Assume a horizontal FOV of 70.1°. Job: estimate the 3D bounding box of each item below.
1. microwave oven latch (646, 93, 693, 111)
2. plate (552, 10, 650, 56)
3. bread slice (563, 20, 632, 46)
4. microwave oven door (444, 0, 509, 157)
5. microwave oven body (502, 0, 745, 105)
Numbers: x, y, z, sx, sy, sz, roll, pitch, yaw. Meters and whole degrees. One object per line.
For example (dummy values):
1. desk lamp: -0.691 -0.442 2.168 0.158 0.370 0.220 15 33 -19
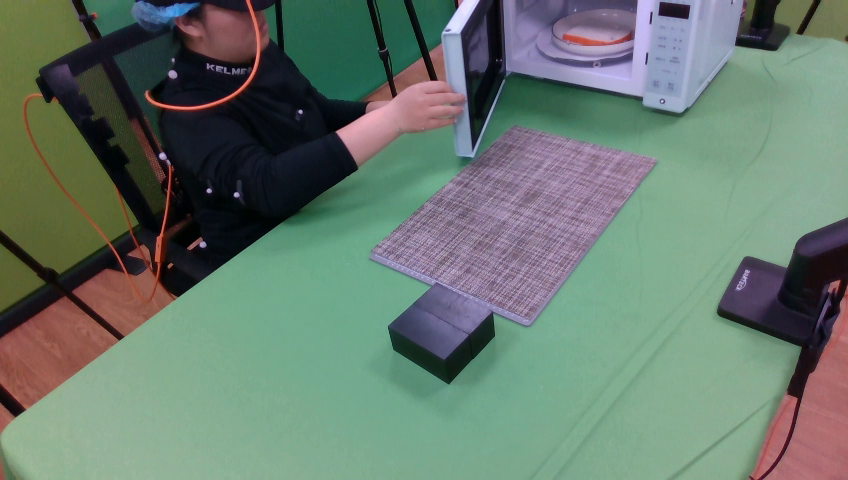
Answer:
1. microwave oven latch: 0.477 -0.273 1.177 0.078 0.029 0.030 22 50 33
2. plate: 0.390 -0.455 1.339 0.209 0.038 0.208 -5 39 5
3. bread slice: 0.393 -0.455 1.342 0.105 0.019 0.130 -36 45 -26
4. microwave oven door: 0.113 -0.365 1.198 0.039 0.245 0.355 5 42 17
5. microwave oven body: 0.416 -0.486 1.290 0.438 0.261 0.327 21 50 33
